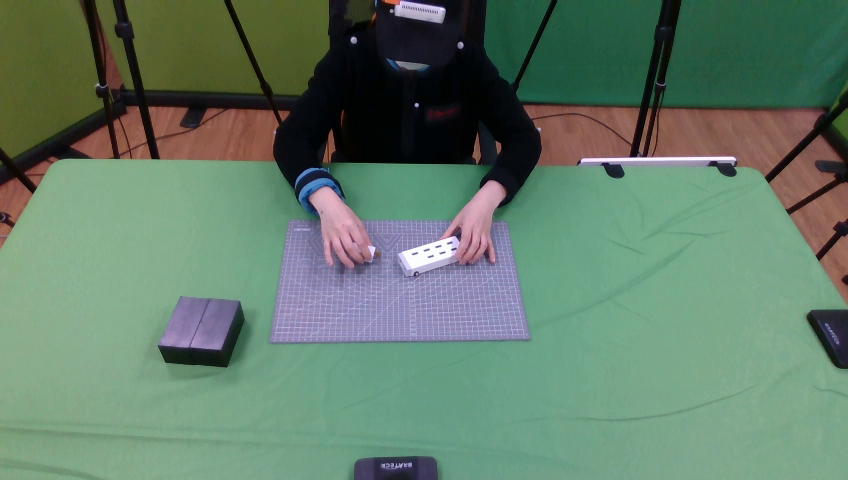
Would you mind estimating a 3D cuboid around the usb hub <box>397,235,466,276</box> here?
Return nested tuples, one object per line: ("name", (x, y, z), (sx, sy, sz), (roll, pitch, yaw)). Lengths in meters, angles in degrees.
("usb hub", (0.015, 0.030, 1.162), (0.125, 0.025, 0.049), (-17, 50, -19))

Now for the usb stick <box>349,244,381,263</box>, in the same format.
("usb stick", (-0.112, 0.026, 1.147), (0.059, 0.021, 0.027), (7, 44, -8))
